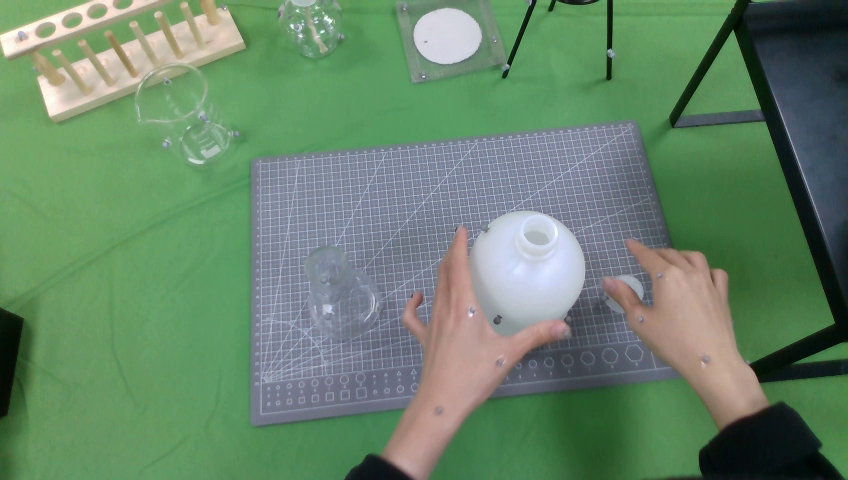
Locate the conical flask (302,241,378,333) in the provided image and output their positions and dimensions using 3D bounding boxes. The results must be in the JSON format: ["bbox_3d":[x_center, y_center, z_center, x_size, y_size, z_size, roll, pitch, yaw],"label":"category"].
[{"bbox_3d":[-0.085,0.040,0.575,0.075,0.123,0.075,0,68,1],"label":"conical flask"}]

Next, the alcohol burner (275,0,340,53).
[{"bbox_3d":[-0.140,-0.279,0.712,0.078,0.120,0.077,0,66,0],"label":"alcohol burner"}]

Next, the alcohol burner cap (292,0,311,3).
[{"bbox_3d":[-0.140,-0.295,0.678,0.034,0.048,0.033,3,66,-7],"label":"alcohol burner cap"}]

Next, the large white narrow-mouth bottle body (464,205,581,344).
[{"bbox_3d":[0.086,0.026,0.542,0.102,0.196,0.101,-1,68,3],"label":"large white narrow-mouth bottle body"}]

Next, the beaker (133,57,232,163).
[{"bbox_3d":[-0.261,-0.135,0.662,0.073,0.101,0.084,39,74,15],"label":"beaker"}]

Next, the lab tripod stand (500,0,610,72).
[{"bbox_3d":[0.160,-0.263,0.692,0.148,0.132,0.147,1,67,-1],"label":"lab tripod stand"}]

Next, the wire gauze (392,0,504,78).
[{"bbox_3d":[0.029,-0.265,0.761,0.121,0.011,0.124,-10,68,-5],"label":"wire gauze"}]

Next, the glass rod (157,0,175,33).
[{"bbox_3d":[-0.306,-0.300,0.664,0.008,0.201,0.008,2,65,-3],"label":"glass rod"}]

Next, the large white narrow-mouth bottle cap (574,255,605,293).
[{"bbox_3d":[0.169,0.036,0.632,0.038,0.024,0.037,-1,67,3],"label":"large white narrow-mouth bottle cap"}]

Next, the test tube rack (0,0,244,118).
[{"bbox_3d":[-0.349,-0.237,0.711,0.242,0.086,0.066,-25,70,-9],"label":"test tube rack"}]
